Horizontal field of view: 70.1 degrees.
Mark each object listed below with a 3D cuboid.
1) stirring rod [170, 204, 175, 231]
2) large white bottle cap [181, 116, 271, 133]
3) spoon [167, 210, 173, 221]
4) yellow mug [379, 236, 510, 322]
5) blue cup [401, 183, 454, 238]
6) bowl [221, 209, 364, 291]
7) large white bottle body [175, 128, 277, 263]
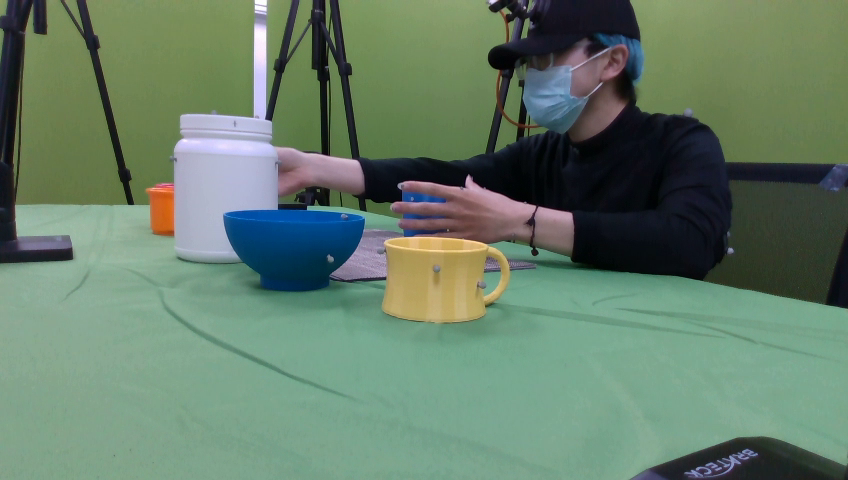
[{"bbox_3d":[-0.426,-0.083,1.060,0.014,0.006,0.175,2,49,-13],"label":"stirring rod"},{"bbox_3d":[-0.262,-0.152,0.803,0.115,0.018,0.115,2,7,0],"label":"large white bottle cap"},{"bbox_3d":[-0.447,-0.104,1.192,0.041,0.022,0.193,7,52,14],"label":"spoon"},{"bbox_3d":[0.024,0.034,0.575,0.131,0.064,0.099,1,7,-22],"label":"yellow mug"},{"bbox_3d":[0.002,-0.038,0.966,0.093,0.100,0.092,4,8,0],"label":"blue cup"},{"bbox_3d":[-0.142,0.011,0.660,0.151,0.077,0.151,2,7,0],"label":"bowl"},{"bbox_3d":[-0.265,-0.068,0.814,0.131,0.184,0.130,2,7,0],"label":"large white bottle body"}]
